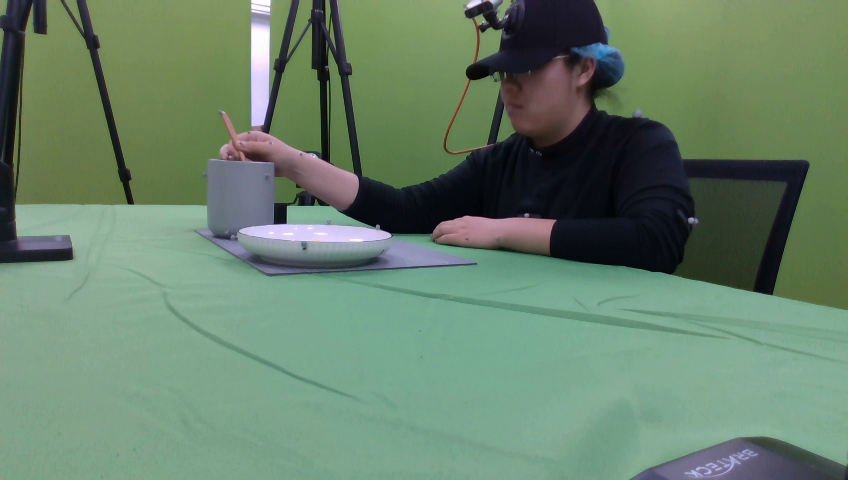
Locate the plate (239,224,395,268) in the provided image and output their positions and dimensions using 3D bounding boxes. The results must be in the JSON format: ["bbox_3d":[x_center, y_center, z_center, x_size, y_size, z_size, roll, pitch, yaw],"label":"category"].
[{"bbox_3d":[-0.144,0.007,0.823,0.208,0.039,0.207,3,7,0],"label":"plate"}]

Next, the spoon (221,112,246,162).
[{"bbox_3d":[-0.301,-0.126,1.003,0.021,0.193,0.042,-21,-7,28],"label":"spoon"}]

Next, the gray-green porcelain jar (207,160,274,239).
[{"bbox_3d":[-0.304,-0.068,1.003,0.106,0.126,0.106,3,7,0],"label":"gray-green porcelain jar"}]
